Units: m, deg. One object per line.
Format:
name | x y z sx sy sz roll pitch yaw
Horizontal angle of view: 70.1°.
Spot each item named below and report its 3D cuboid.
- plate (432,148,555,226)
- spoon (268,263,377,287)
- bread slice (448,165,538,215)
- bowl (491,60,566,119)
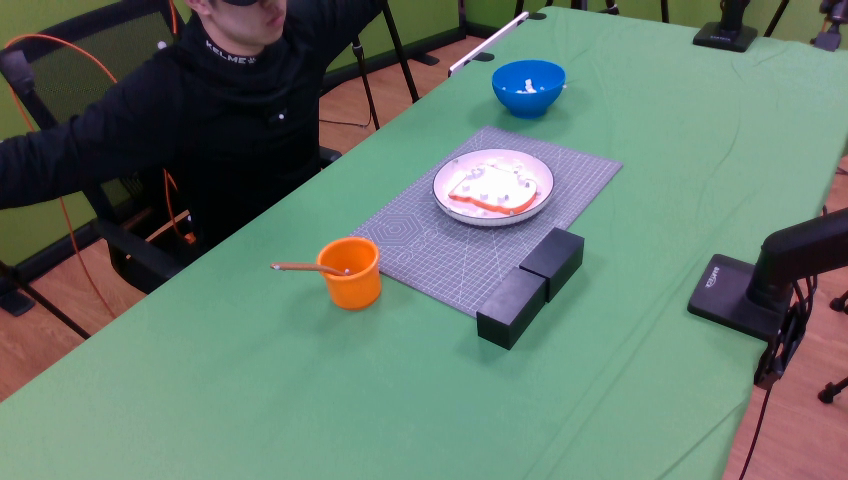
plate | 0.120 -0.087 1.037 0.209 0.038 0.208 -4 40 4
spoon | -0.137 0.045 0.839 0.041 0.195 0.021 28 96 38
bread slice | 0.126 -0.085 1.037 0.133 0.018 0.107 17 45 27
bowl | 0.215 -0.302 1.248 0.151 0.077 0.150 -4 40 4
